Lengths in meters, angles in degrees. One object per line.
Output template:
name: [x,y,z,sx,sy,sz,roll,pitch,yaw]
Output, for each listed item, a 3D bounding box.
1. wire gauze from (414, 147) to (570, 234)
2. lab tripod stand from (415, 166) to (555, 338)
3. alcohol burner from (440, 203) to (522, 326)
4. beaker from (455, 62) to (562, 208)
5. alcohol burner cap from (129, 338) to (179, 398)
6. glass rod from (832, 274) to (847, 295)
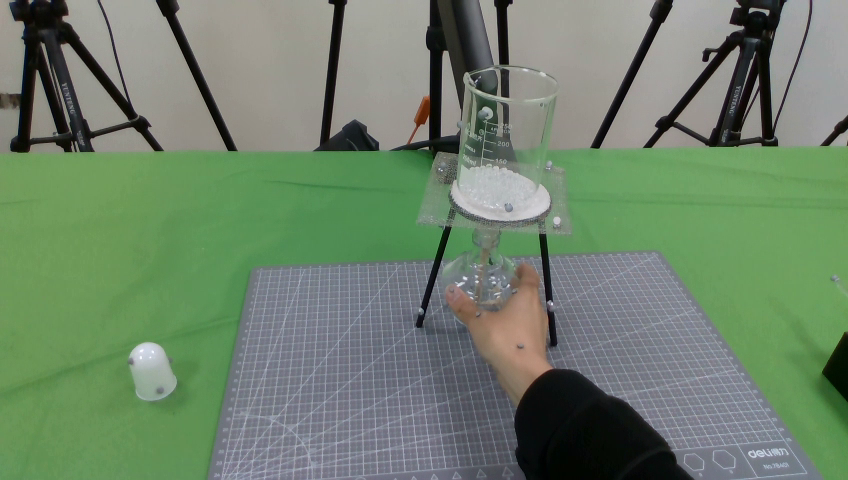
wire gauze: [0.061,-0.043,0.516,0.121,0.011,0.124,6,38,6]
lab tripod stand: [0.065,0.011,0.554,0.148,0.132,0.147,3,35,-2]
alcohol burner: [0.053,0.020,0.558,0.078,0.120,0.077,1,34,0]
beaker: [0.061,-0.084,0.489,0.083,0.101,0.074,30,43,32]
alcohol burner cap: [-0.221,0.102,0.492,0.034,0.048,0.033,1,35,0]
glass rod: [0.392,0.091,0.491,0.008,0.008,0.197,0,36,-3]
